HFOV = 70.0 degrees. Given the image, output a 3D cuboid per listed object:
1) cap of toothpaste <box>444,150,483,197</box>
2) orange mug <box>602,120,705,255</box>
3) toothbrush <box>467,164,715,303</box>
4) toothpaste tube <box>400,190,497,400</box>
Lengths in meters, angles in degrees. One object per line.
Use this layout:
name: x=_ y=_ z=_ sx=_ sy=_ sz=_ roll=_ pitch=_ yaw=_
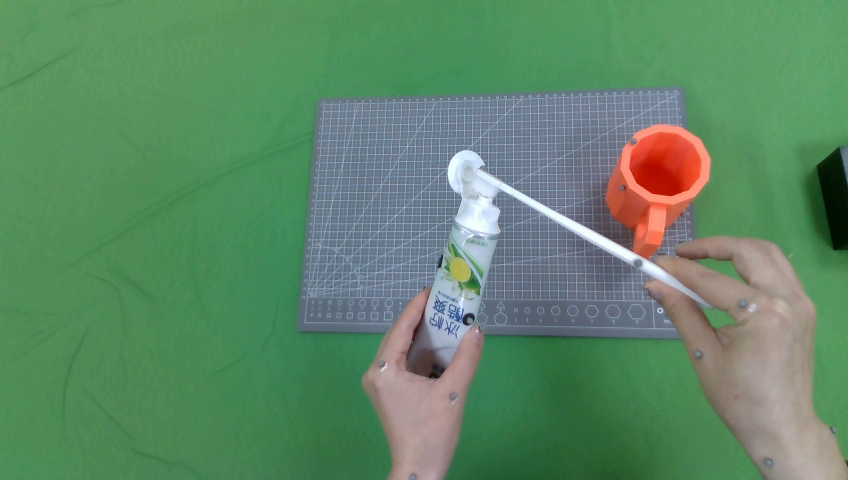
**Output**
cap of toothpaste: x=0.031 y=-0.049 z=0.449 sx=0.037 sy=0.011 sz=0.037 roll=-3 pitch=96 yaw=-33
orange mug: x=0.239 y=-0.051 z=0.643 sx=0.083 sy=0.101 sz=0.125 roll=8 pitch=72 yaw=10
toothbrush: x=0.106 y=-0.005 z=0.407 sx=0.181 sy=0.014 sz=0.016 roll=30 pitch=98 yaw=18
toothpaste tube: x=0.020 y=0.040 z=0.460 sx=0.054 sy=0.034 sz=0.165 roll=25 pitch=110 yaw=30
